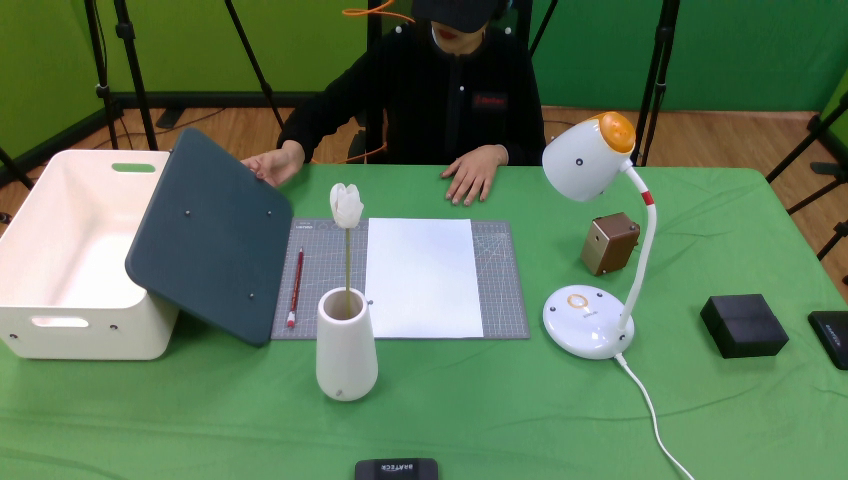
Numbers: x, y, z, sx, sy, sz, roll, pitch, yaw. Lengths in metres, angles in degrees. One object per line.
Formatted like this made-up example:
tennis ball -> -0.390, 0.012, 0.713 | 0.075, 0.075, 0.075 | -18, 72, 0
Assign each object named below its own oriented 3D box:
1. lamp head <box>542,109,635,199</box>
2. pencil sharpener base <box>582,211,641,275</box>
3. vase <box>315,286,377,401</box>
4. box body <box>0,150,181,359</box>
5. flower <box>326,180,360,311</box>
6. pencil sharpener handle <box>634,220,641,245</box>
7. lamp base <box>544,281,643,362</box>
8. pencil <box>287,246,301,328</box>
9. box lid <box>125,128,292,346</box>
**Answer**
lamp head -> 0.253, -0.131, 0.893 | 0.113, 0.123, 0.112 | 10, 66, -24
pencil sharpener base -> 0.357, 0.005, 1.155 | 0.077, 0.107, 0.061 | -15, 48, -18
vase -> -0.119, 0.159, 0.911 | 0.098, 0.201, 0.097 | 2, 47, -2
box body -> -0.541, 0.020, 1.041 | 0.254, 0.161, 0.361 | 1, 46, -3
flower -> -0.110, 0.086, 0.867 | 0.044, 0.363, 0.038 | 22, 34, 36
pencil sharpener handle -> 0.405, -0.015, 1.161 | 0.031, 0.068, 0.035 | -15, 44, -18
lamp base -> 0.304, 0.095, 1.014 | 0.161, 0.181, 0.178 | -24, 54, -24
pencil -> -0.236, 0.080, 1.106 | 0.012, 0.012, 0.193 | 0, 45, -4
box lid -> -0.353, -0.016, 1.063 | 0.015, 0.265, 0.369 | -30, 40, 26
